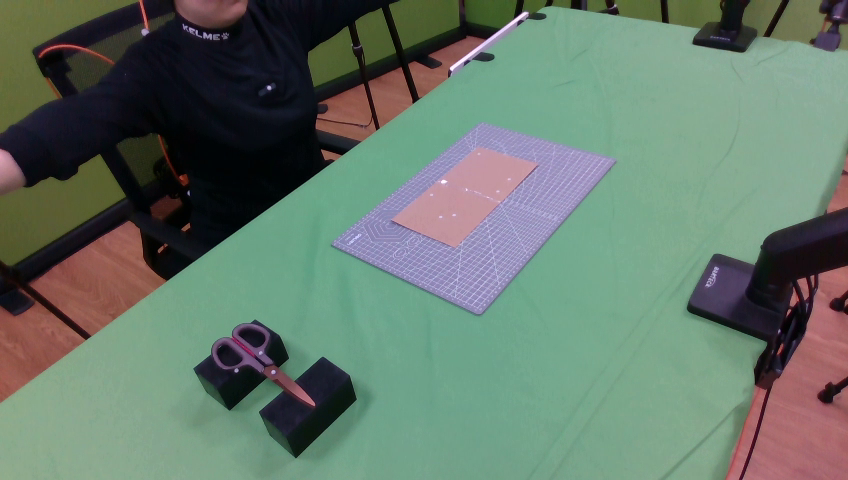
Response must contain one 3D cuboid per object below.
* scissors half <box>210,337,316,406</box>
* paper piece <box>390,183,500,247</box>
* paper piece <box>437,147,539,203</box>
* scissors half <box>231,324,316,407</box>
[{"bbox_3d":[-0.198,0.163,0.736,0.174,0.013,0.040,20,41,25],"label":"scissors half"},{"bbox_3d":[0.037,-0.048,1.027,0.134,0.004,0.136,24,48,30],"label":"paper piece"},{"bbox_3d":[0.117,-0.122,1.104,0.135,0.009,0.138,25,49,29],"label":"paper piece"},{"bbox_3d":[-0.185,0.153,0.748,0.040,0.013,0.173,-32,48,-28],"label":"scissors half"}]
